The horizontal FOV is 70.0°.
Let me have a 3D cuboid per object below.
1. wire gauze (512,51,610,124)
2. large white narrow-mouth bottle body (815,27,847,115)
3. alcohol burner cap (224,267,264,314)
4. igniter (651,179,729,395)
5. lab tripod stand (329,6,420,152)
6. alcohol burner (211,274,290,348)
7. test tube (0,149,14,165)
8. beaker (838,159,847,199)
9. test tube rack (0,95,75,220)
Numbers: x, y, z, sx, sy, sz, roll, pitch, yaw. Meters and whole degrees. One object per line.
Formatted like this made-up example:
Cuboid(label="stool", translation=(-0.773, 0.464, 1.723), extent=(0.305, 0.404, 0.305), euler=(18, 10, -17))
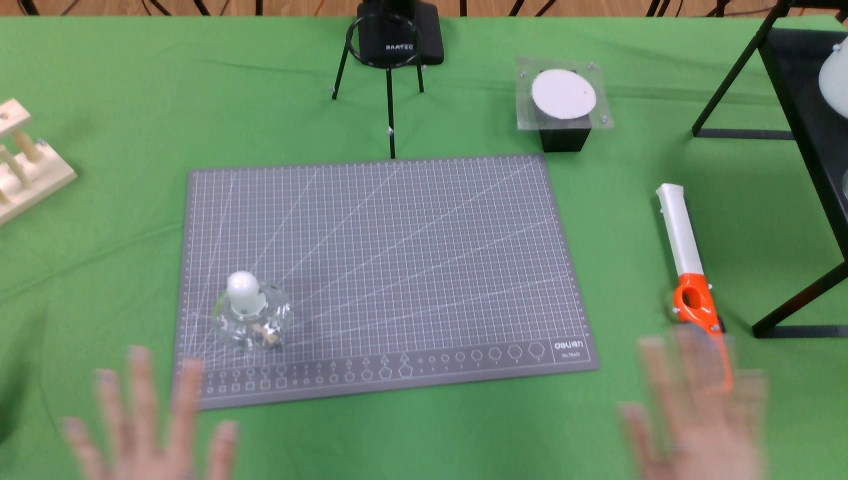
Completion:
Cuboid(label="wire gauze", translation=(0.176, -0.198, 0.792), extent=(0.121, 0.011, 0.124), euler=(3, 60, -4))
Cuboid(label="large white narrow-mouth bottle body", translation=(0.475, -0.208, 0.570), extent=(0.102, 0.196, 0.101), euler=(3, 61, -4))
Cuboid(label="alcohol burner cap", translation=(-0.172, 0.045, 0.572), extent=(0.034, 0.048, 0.033), euler=(1, 56, -2))
Cuboid(label="igniter", translation=(0.311, 0.046, 0.715), extent=(0.057, 0.025, 0.274), euler=(7, 60, -14))
Cuboid(label="lab tripod stand", translation=(-0.052, -0.206, 0.758), extent=(0.148, 0.132, 0.147), euler=(3, 61, -6))
Cuboid(label="alcohol burner", translation=(-0.175, 0.063, 0.604), extent=(0.078, 0.120, 0.077), euler=(4, 59, -6))
Cuboid(label="test tube", translation=(-0.481, -0.128, 0.640), extent=(0.017, 0.151, 0.017), euler=(1, 59, -1))
Cuboid(label="beaker", translation=(0.436, -0.074, 0.547), extent=(0.084, 0.101, 0.073), euler=(15, 61, 3))
Cuboid(label="test tube rack", translation=(-0.519, -0.047, 0.648), extent=(0.066, 0.086, 0.242), euler=(40, 65, 16))
